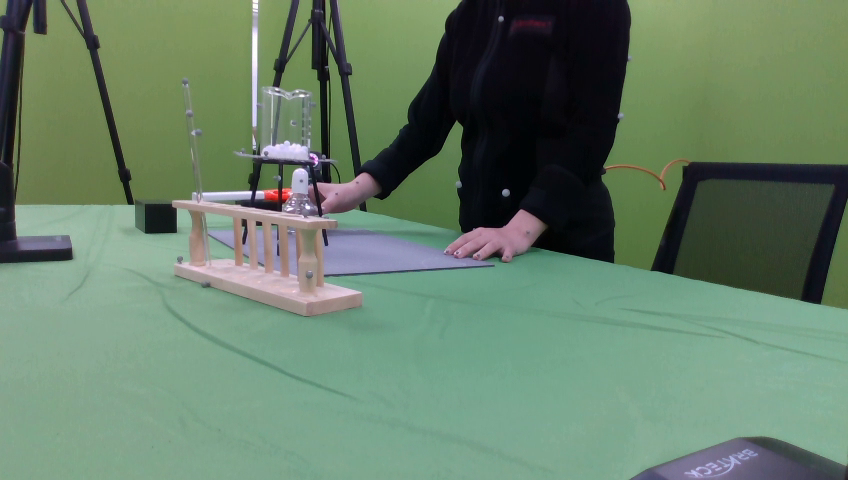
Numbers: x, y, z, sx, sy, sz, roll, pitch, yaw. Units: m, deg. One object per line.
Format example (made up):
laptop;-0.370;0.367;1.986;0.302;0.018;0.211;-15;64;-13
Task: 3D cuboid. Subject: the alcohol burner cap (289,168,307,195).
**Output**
alcohol burner cap;-0.224;-0.105;1.081;0.034;0.048;0.034;4;2;0

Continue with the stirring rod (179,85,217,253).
stirring rod;-0.236;-0.073;0.634;0.006;0.176;0.014;0;10;42

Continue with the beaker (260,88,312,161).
beaker;-0.201;-0.166;0.876;0.074;0.100;0.083;1;7;-18

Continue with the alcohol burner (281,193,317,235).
alcohol burner;-0.225;-0.069;1.086;0.078;0.119;0.078;2;5;0

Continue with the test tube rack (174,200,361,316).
test tube rack;-0.169;0.009;0.622;0.241;0.085;0.067;9;9;41

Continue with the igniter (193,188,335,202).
igniter;-0.312;-0.089;1.209;0.278;0.025;0.057;-5;13;-31

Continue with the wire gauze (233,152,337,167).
wire gauze;-0.205;-0.119;0.887;0.122;0.011;0.124;2;4;-32

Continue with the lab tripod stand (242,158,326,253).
lab tripod stand;-0.207;-0.054;0.895;0.148;0.131;0.148;3;5;0
